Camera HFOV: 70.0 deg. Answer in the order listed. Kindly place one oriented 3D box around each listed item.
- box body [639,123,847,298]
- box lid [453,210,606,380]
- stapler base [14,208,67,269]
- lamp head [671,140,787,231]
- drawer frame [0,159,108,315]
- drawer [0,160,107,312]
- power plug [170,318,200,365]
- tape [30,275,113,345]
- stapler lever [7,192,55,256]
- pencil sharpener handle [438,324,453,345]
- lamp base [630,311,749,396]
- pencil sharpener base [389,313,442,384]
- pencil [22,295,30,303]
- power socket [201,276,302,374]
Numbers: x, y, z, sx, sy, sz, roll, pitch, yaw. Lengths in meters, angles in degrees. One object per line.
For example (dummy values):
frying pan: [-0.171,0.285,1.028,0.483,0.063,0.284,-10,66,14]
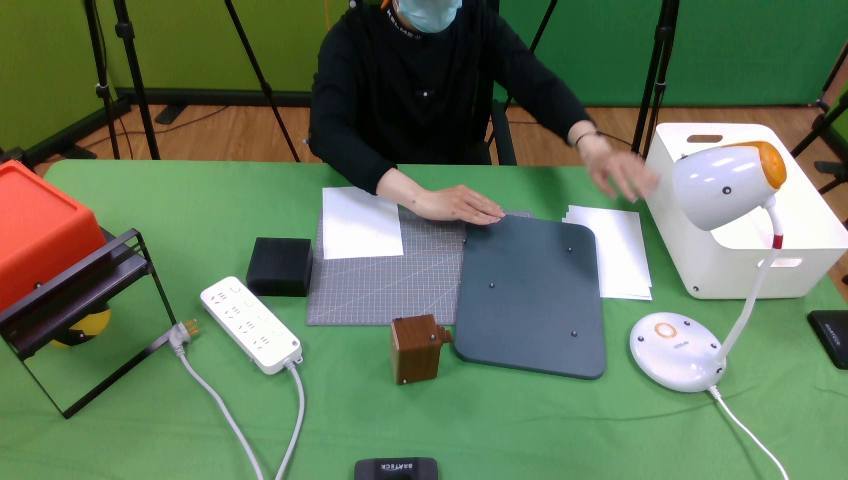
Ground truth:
box body: [0.609,-0.062,1.204,0.254,0.161,0.361,-1,46,-4]
box lid: [0.200,0.085,1.138,0.263,0.015,0.369,8,47,2]
stapler base: [-0.577,-0.010,0.903,0.041,0.024,0.130,-30,57,-25]
lamp head: [0.415,-0.078,0.811,0.113,0.123,0.112,12,70,-37]
drawer frame: [-0.611,0.000,0.863,0.201,0.083,0.213,27,51,20]
drawer: [-0.610,-0.001,0.866,0.194,0.073,0.211,29,52,21]
power plug: [-0.392,0.167,1.014,0.052,0.035,0.072,-30,91,-23]
tape: [-0.593,0.117,1.021,0.117,0.053,0.116,3,46,-2]
stapler lever: [-0.575,-0.026,0.885,0.027,0.040,0.117,-31,56,-25]
pencil sharpener handle: [0.036,0.155,0.976,0.031,0.068,0.036,-8,69,-11]
lamp base: [0.447,0.143,0.983,0.161,0.181,0.178,-24,55,-24]
pencil sharpener base: [-0.013,0.175,0.971,0.077,0.107,0.061,-8,47,-12]
pencil: [-0.591,0.010,0.883,0.012,0.012,0.193,-17,61,-19]
power socket: [-0.297,0.141,1.034,0.072,0.033,0.225,-34,58,-30]
